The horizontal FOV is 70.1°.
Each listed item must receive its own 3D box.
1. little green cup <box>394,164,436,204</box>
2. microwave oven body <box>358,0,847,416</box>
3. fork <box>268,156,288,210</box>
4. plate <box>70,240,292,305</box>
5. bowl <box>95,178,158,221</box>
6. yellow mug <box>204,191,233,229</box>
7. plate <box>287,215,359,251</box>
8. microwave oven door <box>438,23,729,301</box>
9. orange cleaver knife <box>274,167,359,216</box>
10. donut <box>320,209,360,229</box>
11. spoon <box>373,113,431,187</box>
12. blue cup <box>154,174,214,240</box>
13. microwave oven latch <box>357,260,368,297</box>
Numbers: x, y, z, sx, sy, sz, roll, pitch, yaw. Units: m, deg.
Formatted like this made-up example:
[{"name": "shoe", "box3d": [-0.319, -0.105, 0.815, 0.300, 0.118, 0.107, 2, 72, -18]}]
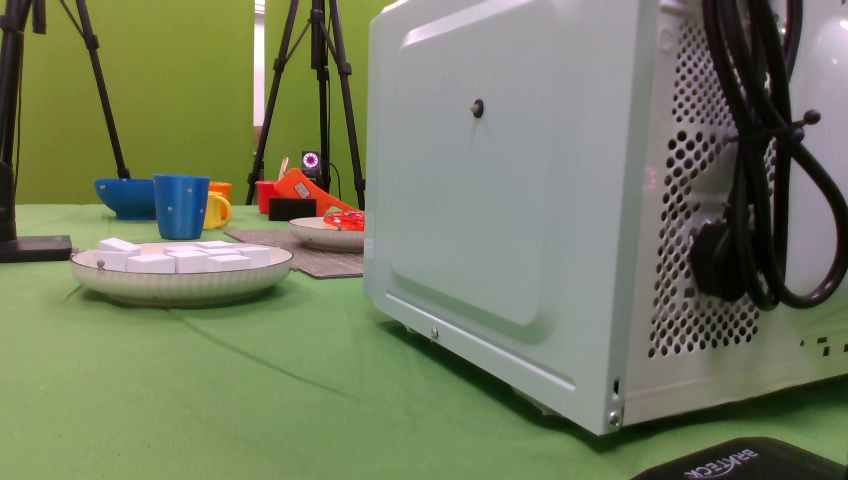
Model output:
[{"name": "little green cup", "box3d": [-0.012, -0.087, 0.957, 0.061, 0.038, 0.061, -26, -16, -8]}, {"name": "microwave oven body", "box3d": [0.211, -0.047, 0.474, 0.444, 0.260, 0.324, -1, 7, -28]}, {"name": "fork", "box3d": [-0.360, -0.144, 1.508, 0.028, 0.018, 0.207, 2, 49, 0]}, {"name": "plate", "box3d": [-0.242, 0.031, 0.618, 0.208, 0.039, 0.207, 2, 8, 0]}, {"name": "bowl", "box3d": [-0.576, -0.081, 1.217, 0.151, 0.077, 0.151, 3, 8, 0]}, {"name": "yellow mug", "box3d": [-0.415, -0.057, 1.132, 0.130, 0.064, 0.100, 6, 8, 16]}, {"name": "plate", "box3d": [-0.111, -0.012, 0.960, 0.209, 0.038, 0.209, 3, 8, 0]}, {"name": "microwave oven door", "box3d": [0.181, -0.072, 0.620, 0.358, 0.243, 0.039, -2, 8, -29]}, {"name": "orange cleaver knife", "box3d": [-0.238, -0.090, 1.381, 0.212, 0.077, 0.012, 31, 0, -19]}, {"name": "donut", "box3d": [-0.115, -0.023, 0.961, 0.099, 0.048, 0.099, 5, 8, 0]}, {"name": "spoon", "box3d": [-0.041, -0.152, 1.002, 0.042, 0.021, 0.193, -9, 54, -30]}, {"name": "blue cup", "box3d": [-0.390, -0.053, 0.978, 0.093, 0.100, 0.092, 3, 6, 0]}, {"name": "microwave oven latch", "box3d": [-0.019, 0.033, 0.531, 0.079, 0.029, 0.030, -1, 7, -27]}]
